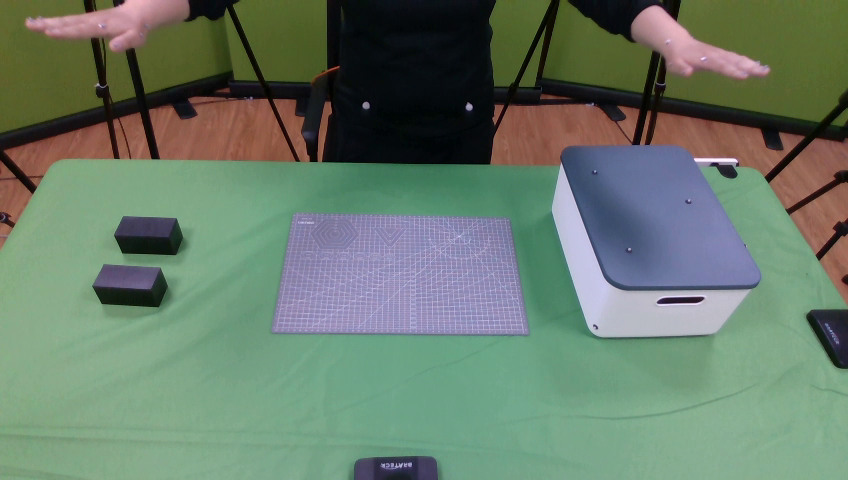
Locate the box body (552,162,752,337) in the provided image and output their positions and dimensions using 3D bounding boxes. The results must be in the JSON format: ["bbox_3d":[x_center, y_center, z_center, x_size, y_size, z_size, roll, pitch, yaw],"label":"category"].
[{"bbox_3d":[0.401,-0.001,1.131,0.254,0.161,0.361,-1,46,-5],"label":"box body"}]

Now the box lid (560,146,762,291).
[{"bbox_3d":[0.404,-0.052,1.076,0.263,0.015,0.369,-1,45,-5],"label":"box lid"}]
